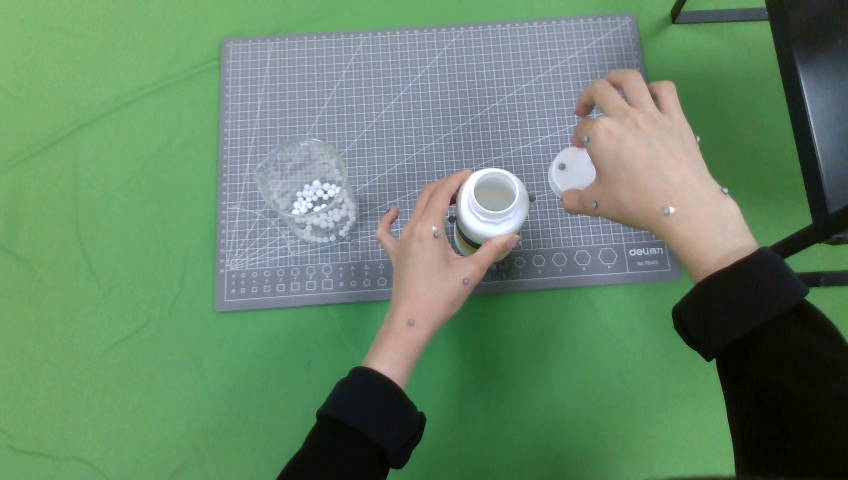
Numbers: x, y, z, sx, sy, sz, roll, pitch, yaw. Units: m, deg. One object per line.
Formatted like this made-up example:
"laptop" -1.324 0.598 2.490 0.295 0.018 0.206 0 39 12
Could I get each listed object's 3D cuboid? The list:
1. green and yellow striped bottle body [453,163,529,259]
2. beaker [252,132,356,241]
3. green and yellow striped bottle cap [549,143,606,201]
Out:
"green and yellow striped bottle body" 0.058 -0.027 0.542 0.063 0.120 0.063 0 74 1
"beaker" -0.105 -0.044 0.559 0.084 0.101 0.073 7 74 3
"green and yellow striped bottle cap" 0.126 -0.056 0.497 0.045 0.020 0.045 0 78 1
